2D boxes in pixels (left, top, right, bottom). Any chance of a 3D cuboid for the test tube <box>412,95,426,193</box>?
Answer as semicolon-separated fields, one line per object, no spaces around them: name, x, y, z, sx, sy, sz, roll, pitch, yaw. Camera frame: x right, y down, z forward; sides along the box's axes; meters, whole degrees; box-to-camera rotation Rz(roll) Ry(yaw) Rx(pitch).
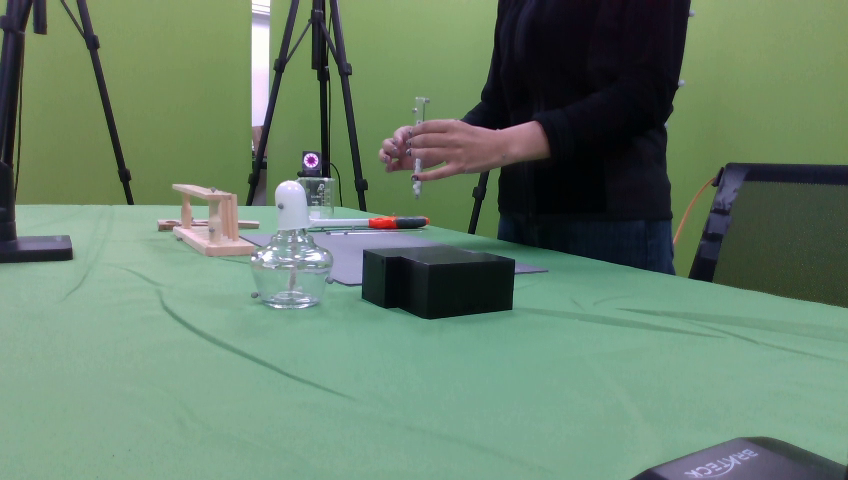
test tube;-0.008;-0.147;0.933;0.017;0.150;0.017;3;12;0

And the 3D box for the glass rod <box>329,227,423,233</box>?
glass rod;-0.087;-0.019;1.148;0.201;0.008;0.008;-3;8;-32

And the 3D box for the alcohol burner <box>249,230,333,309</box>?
alcohol burner;-0.125;0.004;0.568;0.078;0.119;0.078;1;10;0

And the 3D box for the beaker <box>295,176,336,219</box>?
beaker;-0.224;-0.080;1.247;0.084;0.100;0.073;-1;8;-18

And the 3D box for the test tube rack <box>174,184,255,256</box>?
test tube rack;-0.327;-0.036;0.928;0.067;0.085;0.241;-2;9;-32

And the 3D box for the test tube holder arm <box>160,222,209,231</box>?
test tube holder arm;-0.423;-0.024;1.075;0.088;0.015;0.010;-3;44;-38

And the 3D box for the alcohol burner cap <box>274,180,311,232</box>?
alcohol burner cap;-0.125;-0.032;0.563;0.034;0.048;0.034;-5;6;1

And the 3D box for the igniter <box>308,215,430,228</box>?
igniter;-0.108;-0.037;1.227;0.278;0.025;0.057;-3;-1;-36

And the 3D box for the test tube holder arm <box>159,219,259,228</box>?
test tube holder arm;-0.390;-0.030;1.107;0.179;0.015;0.013;-3;44;-39
